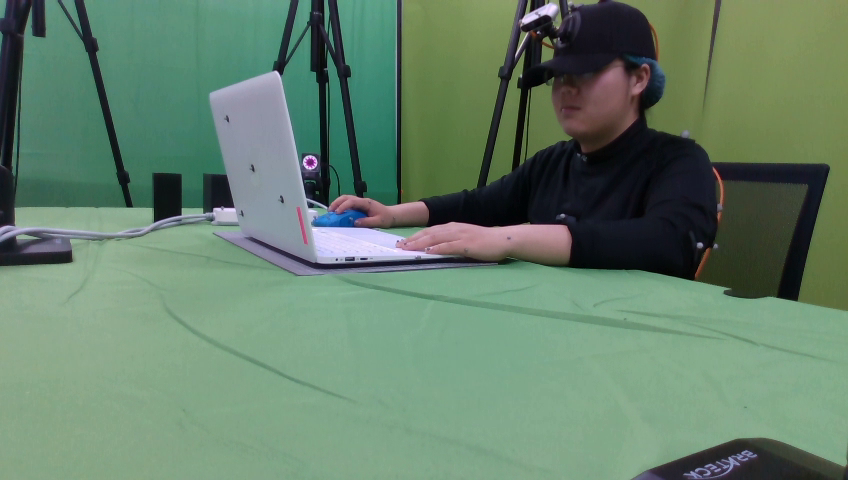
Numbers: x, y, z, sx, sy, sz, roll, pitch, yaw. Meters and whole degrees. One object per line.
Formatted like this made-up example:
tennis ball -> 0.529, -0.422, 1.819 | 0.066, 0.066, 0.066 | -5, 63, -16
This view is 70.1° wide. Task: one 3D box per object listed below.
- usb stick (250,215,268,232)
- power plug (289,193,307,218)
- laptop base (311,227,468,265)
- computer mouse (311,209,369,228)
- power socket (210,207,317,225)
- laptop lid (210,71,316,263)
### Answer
usb stick -> -0.290, -0.028, 1.069 | 0.021, 0.027, 0.059 | -1, 11, -30
power plug -> -0.281, -0.076, 1.340 | 0.035, 0.052, 0.072 | 3, 6, -17
laptop base -> -0.123, 0.007, 0.951 | 0.237, 0.023, 0.352 | 2, 6, -32
computer mouse -> -0.175, -0.043, 1.267 | 0.118, 0.041, 0.062 | -7, 14, -36
power socket -> -0.334, -0.051, 1.281 | 0.228, 0.032, 0.072 | -1, 8, -28
laptop lid -> -0.240, -0.104, 0.861 | 0.013, 0.241, 0.355 | -16, 17, -29
